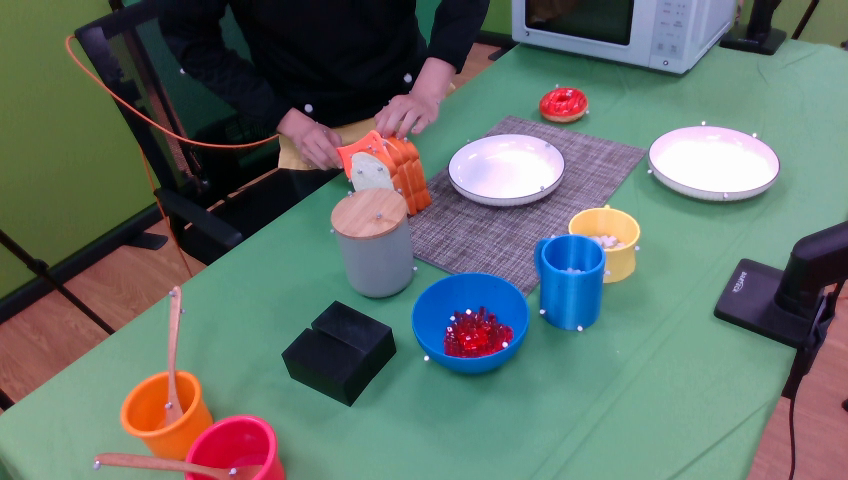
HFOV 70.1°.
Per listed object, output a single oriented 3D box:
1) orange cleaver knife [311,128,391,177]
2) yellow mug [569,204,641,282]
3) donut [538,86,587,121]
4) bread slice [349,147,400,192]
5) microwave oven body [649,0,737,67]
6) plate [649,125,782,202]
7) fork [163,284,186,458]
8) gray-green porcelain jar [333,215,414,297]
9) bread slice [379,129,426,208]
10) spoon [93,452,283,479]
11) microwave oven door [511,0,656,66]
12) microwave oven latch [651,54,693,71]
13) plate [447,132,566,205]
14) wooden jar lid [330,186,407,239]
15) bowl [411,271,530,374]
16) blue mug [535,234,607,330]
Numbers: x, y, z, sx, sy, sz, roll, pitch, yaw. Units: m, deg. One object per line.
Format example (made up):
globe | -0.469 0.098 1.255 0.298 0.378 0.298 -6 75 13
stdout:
orange cleaver knife | -0.127 -0.140 1.032 0.012 0.077 0.209 -28 17 -39
yellow mug | 0.268 -0.005 0.904 0.099 0.064 0.130 7 41 15
donut | 0.283 -0.280 1.239 0.099 0.048 0.098 -5 42 5
bread slice | -0.084 -0.091 0.999 0.104 0.132 0.019 23 43 31
microwave oven body | 0.475 -0.602 1.411 0.438 0.261 0.327 23 50 32
plate | 0.493 -0.127 1.036 0.207 0.039 0.206 -4 40 4
fork | -0.302 0.157 0.733 0.028 0.019 0.207 -3 84 15
gray-green porcelain jar | -0.071 0.012 0.887 0.106 0.127 0.105 -4 41 4
bread slice | -0.039 -0.125 1.041 0.018 0.135 0.106 -33 51 -26
spoon | -0.240 0.239 0.632 0.195 0.021 0.041 26 33 -32
microwave oven door | 0.351 -0.539 1.349 0.353 0.245 0.039 24 50 31
microwave oven latch | 0.532 -0.386 1.301 0.078 0.029 0.030 26 51 34
plate | 0.146 -0.124 1.076 0.209 0.038 0.208 -3 41 3
wooden jar lid | -0.077 -0.035 0.846 0.108 0.021 0.108 -5 42 5
bowl | 0.062 0.120 0.780 0.151 0.077 0.150 -4 40 4
blue mug | 0.191 0.048 0.824 0.082 0.106 0.115 -26 44 -20
